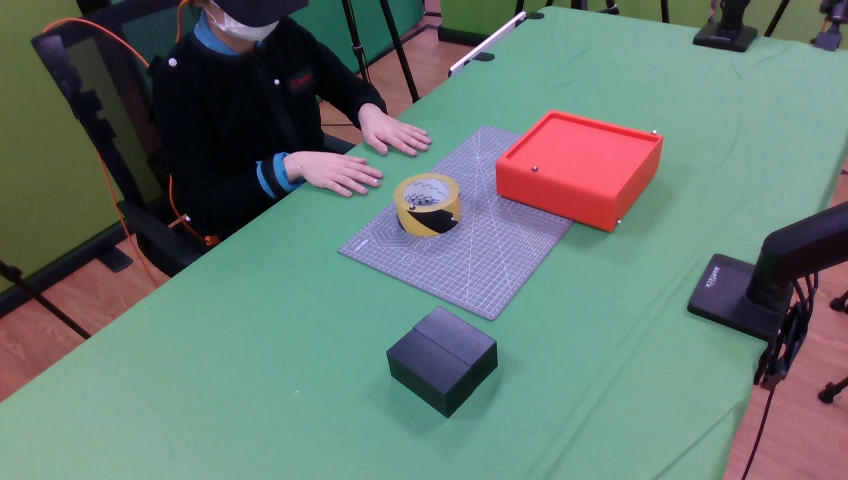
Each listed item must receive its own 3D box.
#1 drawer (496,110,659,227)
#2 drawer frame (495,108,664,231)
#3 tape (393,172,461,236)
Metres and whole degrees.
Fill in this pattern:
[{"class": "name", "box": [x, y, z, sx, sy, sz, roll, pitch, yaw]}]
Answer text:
[{"class": "drawer", "box": [0.259, -0.127, 1.028, 0.210, 0.073, 0.195, 23, 48, 30]}, {"class": "drawer frame", "box": [0.262, -0.127, 1.028, 0.212, 0.083, 0.202, 22, 48, 29]}, {"class": "tape", "box": [0.005, -0.061, 1.012, 0.117, 0.053, 0.116, -4, 40, 4]}]
